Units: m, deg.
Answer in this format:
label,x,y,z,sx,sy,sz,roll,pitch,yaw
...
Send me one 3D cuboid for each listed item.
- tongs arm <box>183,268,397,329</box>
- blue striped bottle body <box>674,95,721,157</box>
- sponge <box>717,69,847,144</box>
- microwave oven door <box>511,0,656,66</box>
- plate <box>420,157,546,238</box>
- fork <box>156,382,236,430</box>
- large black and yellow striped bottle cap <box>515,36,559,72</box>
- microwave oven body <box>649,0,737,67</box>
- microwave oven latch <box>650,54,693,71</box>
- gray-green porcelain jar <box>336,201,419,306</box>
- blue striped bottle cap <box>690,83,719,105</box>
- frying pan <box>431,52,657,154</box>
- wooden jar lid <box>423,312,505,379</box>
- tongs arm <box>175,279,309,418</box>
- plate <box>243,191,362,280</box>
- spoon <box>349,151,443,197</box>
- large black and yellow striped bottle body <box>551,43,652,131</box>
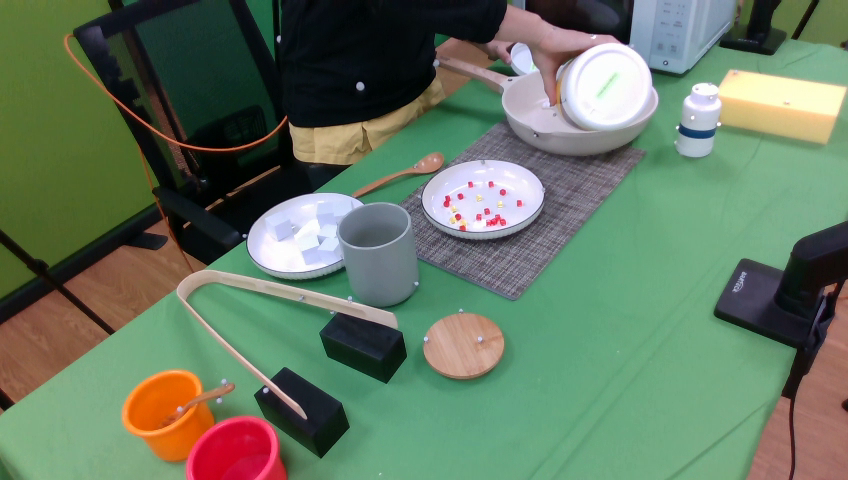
label,x,y,z,sx,sy,sz,roll,pitch,yaw
tongs arm,-0.203,0.084,0.847,0.382,0.027,0.051,11,44,34
blue striped bottle body,0.486,-0.213,1.072,0.063,0.121,0.063,-4,41,4
sponge,0.663,-0.256,1.141,0.205,0.061,0.118,19,47,27
microwave oven door,0.350,-0.539,1.349,0.353,0.245,0.039,24,50,31
plate,0.099,-0.067,1.017,0.209,0.038,0.208,-4,40,4
fork,-0.262,0.189,0.690,0.018,0.206,0.028,48,43,-7
large black and yellow striped bottle cap,0.249,-0.396,1.327,0.116,0.018,0.114,17,57,-27
microwave oven body,0.475,-0.602,1.411,0.438,0.261,0.327,23,50,32
microwave oven latch,0.531,-0.386,1.301,0.078,0.029,0.030,26,51,33
gray-green porcelain jar,-0.064,0.024,0.872,0.106,0.127,0.105,-4,41,4
blue striped bottle cap,0.481,-0.251,1.038,0.044,0.021,0.044,-5,40,5
frying pan,0.216,-0.302,1.223,0.484,0.103,0.308,29,49,24
wooden jar lid,0.053,0.142,0.800,0.108,0.021,0.108,-5,39,4
tongs arm,-0.255,0.132,0.800,0.028,0.028,0.384,-41,40,-23
plate,-0.187,-0.005,0.992,0.207,0.039,0.206,-4,40,4
spoon,-0.051,-0.123,1.120,0.194,0.022,0.041,-22,60,-18
large black and yellow striped bottle body,0.284,-0.247,1.004,0.131,0.131,0.183,-6,10,2
